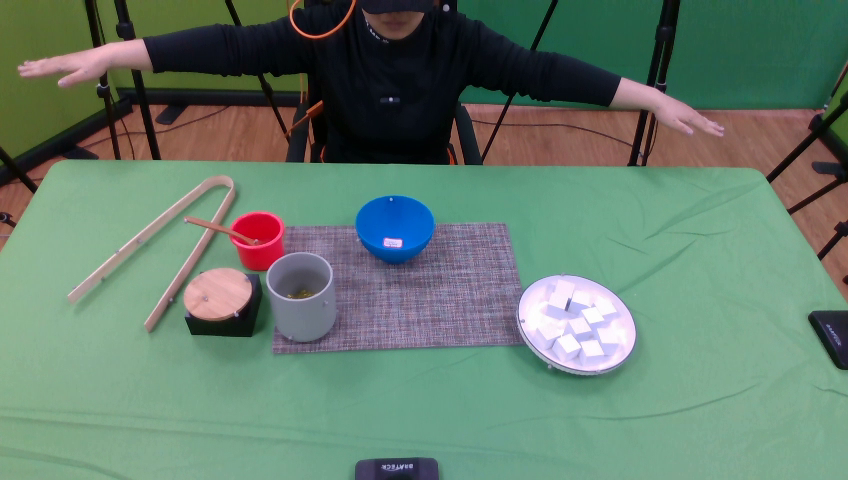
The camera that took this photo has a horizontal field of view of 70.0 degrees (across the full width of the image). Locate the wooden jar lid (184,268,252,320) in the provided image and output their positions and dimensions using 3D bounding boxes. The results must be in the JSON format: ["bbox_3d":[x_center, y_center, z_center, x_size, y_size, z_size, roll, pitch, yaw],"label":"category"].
[{"bbox_3d":[-0.343,0.092,1.015,0.108,0.021,0.107,3,46,-3],"label":"wooden jar lid"}]

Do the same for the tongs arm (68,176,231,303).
[{"bbox_3d":[-0.510,-0.010,1.162,0.050,0.026,0.383,20,47,14],"label":"tongs arm"}]

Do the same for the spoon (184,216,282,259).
[{"bbox_3d":[-0.341,-0.008,1.096,0.195,0.021,0.041,29,35,-41],"label":"spoon"}]

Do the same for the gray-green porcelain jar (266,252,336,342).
[{"bbox_3d":[-0.202,0.100,1.009,0.106,0.127,0.105,2,46,-2],"label":"gray-green porcelain jar"}]

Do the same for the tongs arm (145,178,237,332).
[{"bbox_3d":[-0.432,0.014,1.149,0.028,0.028,0.385,8,45,7],"label":"tongs arm"}]

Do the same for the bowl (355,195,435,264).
[{"bbox_3d":[-0.056,-0.008,1.158,0.151,0.077,0.150,2,46,-2],"label":"bowl"}]

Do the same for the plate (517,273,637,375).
[{"bbox_3d":[0.264,0.148,1.060,0.209,0.038,0.208,3,46,-3],"label":"plate"}]
